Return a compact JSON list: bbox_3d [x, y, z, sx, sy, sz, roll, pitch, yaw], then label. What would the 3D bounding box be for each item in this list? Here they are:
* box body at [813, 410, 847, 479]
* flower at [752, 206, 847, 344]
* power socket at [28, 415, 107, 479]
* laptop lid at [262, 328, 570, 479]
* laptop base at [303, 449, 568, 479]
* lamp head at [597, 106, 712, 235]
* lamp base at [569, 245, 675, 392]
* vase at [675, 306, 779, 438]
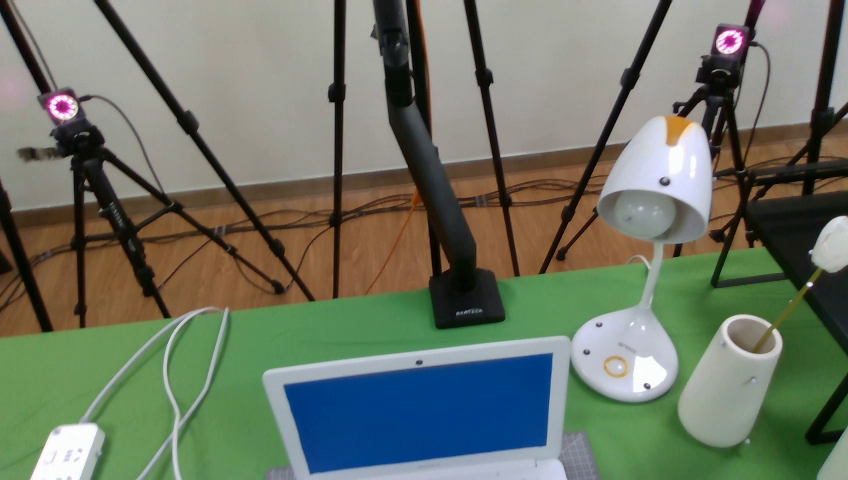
[{"bbox_3d":[0.627,0.347,0.627,0.254,0.162,0.360,-5,43,-1],"label":"box body"},{"bbox_3d":[0.412,0.114,0.743,0.038,0.364,0.043,12,34,-7],"label":"flower"},{"bbox_3d":[-0.497,0.336,0.815,0.072,0.033,0.224,-3,43,-1],"label":"power socket"},{"bbox_3d":[0.000,0.210,0.749,0.357,0.244,0.013,-8,37,-2],"label":"laptop lid"},{"bbox_3d":[0.019,0.385,0.736,0.354,0.023,0.233,-6,47,-2],"label":"laptop base"},{"bbox_3d":[0.257,-0.079,0.655,0.112,0.113,0.122,15,65,20],"label":"lamp head"},{"bbox_3d":[0.308,0.103,0.896,0.159,0.182,0.178,18,45,22],"label":"lamp base"},{"bbox_3d":[0.397,0.175,0.799,0.098,0.202,0.097,-3,42,3],"label":"vase"}]
